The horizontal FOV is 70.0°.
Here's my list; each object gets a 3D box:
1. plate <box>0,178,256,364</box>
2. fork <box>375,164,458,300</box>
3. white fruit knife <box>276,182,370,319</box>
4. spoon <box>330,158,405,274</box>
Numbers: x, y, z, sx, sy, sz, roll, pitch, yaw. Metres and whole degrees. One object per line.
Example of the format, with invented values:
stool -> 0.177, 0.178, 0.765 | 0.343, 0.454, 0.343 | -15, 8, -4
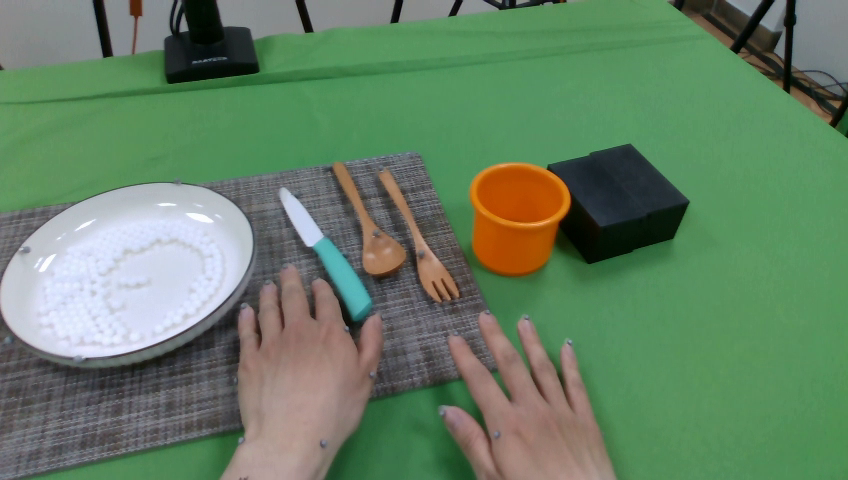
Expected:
plate -> -0.252, 0.025, 0.537 | 0.209, 0.038, 0.207 | 1, 45, -1
fork -> -0.014, -0.015, 0.598 | 0.028, 0.019, 0.205 | -20, 50, -9
white fruit knife -> -0.102, 0.001, 0.580 | 0.027, 0.016, 0.205 | -12, 45, -31
spoon -> -0.065, -0.032, 0.610 | 0.041, 0.022, 0.191 | -26, 50, -4
